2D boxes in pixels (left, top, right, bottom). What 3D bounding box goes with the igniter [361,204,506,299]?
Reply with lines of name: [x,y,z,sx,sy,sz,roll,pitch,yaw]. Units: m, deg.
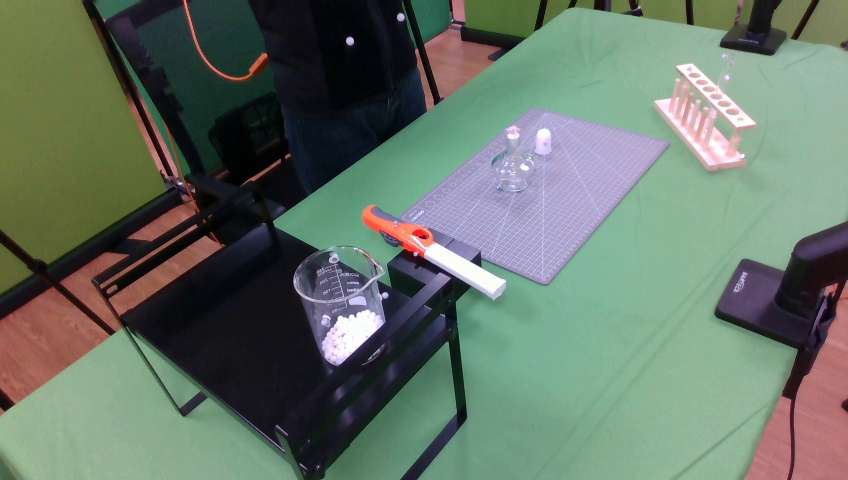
igniter: [0.003,0.009,0.887,0.274,0.025,0.057,30,50,33]

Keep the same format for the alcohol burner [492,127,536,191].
alcohol burner: [0.156,-0.146,1.046,0.078,0.119,0.077,-4,43,4]

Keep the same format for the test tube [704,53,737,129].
test tube: [0.526,-0.261,1.074,0.017,0.151,0.017,-2,44,2]

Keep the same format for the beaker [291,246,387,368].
beaker: [-0.073,0.066,0.573,0.084,0.101,0.073,-7,41,0]

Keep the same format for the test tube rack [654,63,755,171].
test tube rack: [0.510,-0.233,1.120,0.067,0.085,0.241,-8,41,-1]

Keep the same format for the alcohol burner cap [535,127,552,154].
alcohol burner cap: [0.227,-0.190,1.142,0.034,0.048,0.033,-3,40,3]
